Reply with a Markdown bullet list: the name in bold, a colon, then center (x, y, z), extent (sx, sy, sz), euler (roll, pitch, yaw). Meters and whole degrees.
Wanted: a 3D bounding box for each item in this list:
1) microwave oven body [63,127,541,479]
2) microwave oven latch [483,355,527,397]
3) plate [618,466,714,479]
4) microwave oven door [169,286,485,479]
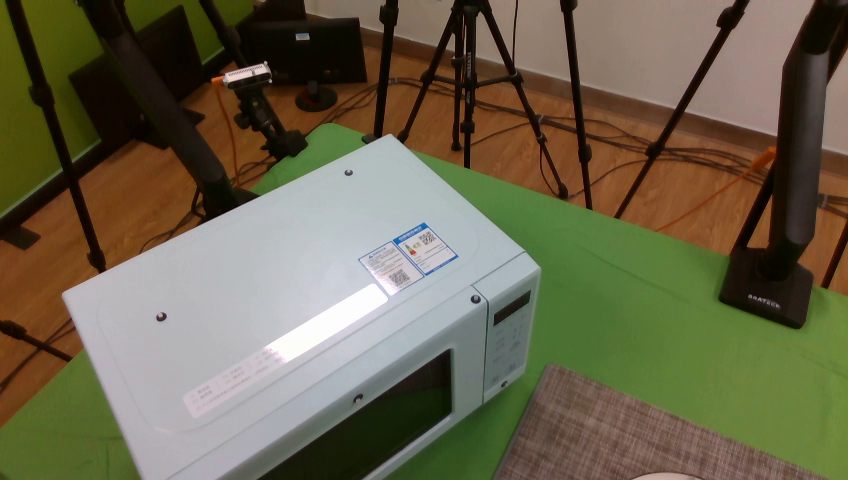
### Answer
- **microwave oven body**: center (-0.133, 0.111, 0.759), extent (0.442, 0.262, 0.322), euler (-31, 55, -21)
- **microwave oven latch**: center (0.103, 0.176, 0.818), extent (0.079, 0.030, 0.030), euler (-31, 55, -21)
- **plate**: center (0.285, 0.358, 0.668), extent (0.209, 0.038, 0.207), euler (-1, 49, 2)
- **microwave oven door**: center (-0.080, 0.213, 0.661), extent (0.356, 0.246, 0.039), euler (-31, 54, -21)
